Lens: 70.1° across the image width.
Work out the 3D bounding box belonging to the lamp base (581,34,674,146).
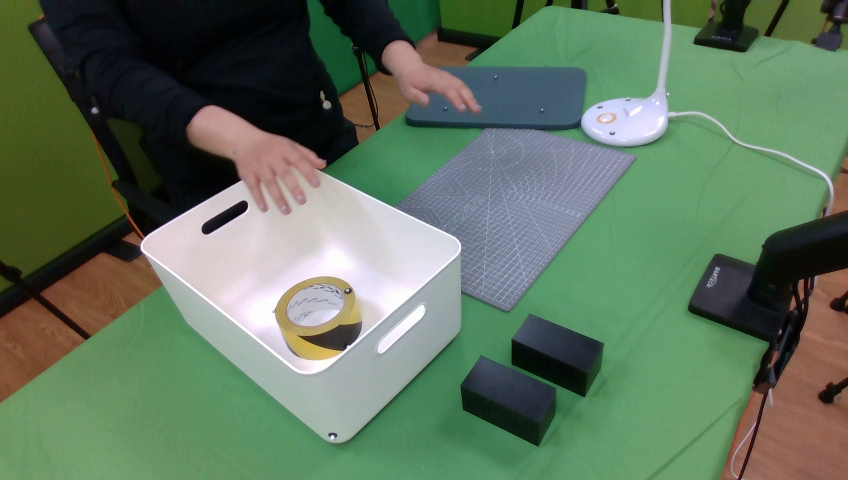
[{"bbox_3d":[0.392,-0.291,1.129,0.180,0.181,0.159,-11,41,-8],"label":"lamp base"}]

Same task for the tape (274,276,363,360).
[{"bbox_3d":[-0.144,0.106,0.833,0.117,0.053,0.116,-4,41,4],"label":"tape"}]

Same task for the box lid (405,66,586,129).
[{"bbox_3d":[0.163,-0.317,1.322,0.370,0.015,0.263,5,42,14],"label":"box lid"}]

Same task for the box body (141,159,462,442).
[{"bbox_3d":[-0.153,0.063,0.809,0.361,0.161,0.255,27,51,33],"label":"box body"}]
